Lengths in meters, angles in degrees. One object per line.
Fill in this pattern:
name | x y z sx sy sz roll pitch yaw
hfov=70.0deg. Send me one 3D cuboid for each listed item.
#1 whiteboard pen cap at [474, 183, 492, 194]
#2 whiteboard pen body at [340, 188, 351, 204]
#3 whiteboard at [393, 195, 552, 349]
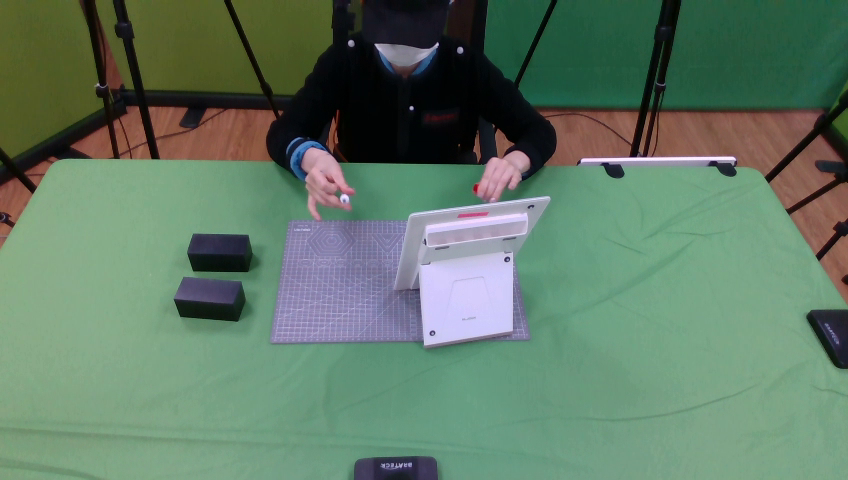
whiteboard pen cap | 0.111 -0.098 1.152 0.032 0.017 0.017 9 42 -26
whiteboard pen body | -0.142 -0.078 1.093 0.017 0.017 0.140 -1 12 -5
whiteboard | 0.077 0.071 0.977 0.217 0.306 0.143 -7 66 -11
